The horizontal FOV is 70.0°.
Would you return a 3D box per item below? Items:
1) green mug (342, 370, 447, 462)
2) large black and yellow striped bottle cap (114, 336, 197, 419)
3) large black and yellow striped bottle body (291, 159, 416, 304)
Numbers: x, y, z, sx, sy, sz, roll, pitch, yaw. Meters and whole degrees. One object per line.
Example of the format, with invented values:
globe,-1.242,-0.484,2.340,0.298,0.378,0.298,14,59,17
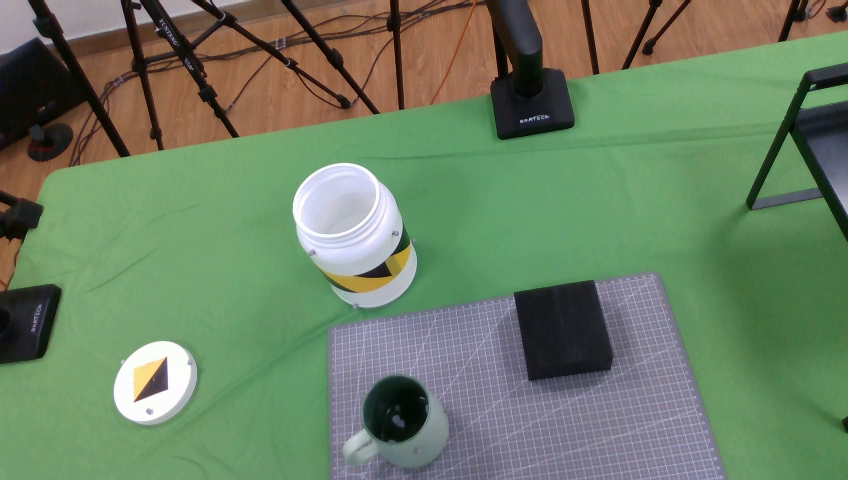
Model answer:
green mug,-0.037,0.214,0.703,0.125,0.106,0.091,-33,60,-8
large black and yellow striped bottle cap,-0.372,0.189,0.839,0.115,0.019,0.114,-5,59,9
large black and yellow striped bottle body,-0.090,-0.009,0.796,0.130,0.186,0.129,-5,59,9
